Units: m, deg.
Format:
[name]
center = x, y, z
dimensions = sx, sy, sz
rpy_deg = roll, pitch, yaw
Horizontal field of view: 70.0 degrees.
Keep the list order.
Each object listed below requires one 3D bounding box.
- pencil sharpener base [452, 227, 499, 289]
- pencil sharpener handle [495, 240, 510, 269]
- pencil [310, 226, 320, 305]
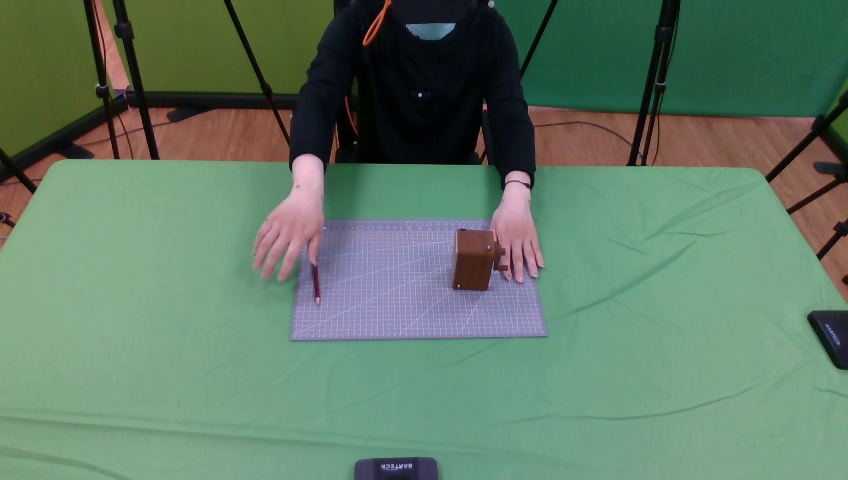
[pencil sharpener base]
center = 0.093, 0.035, 1.102
dimensions = 0.077, 0.107, 0.061
rpy_deg = 3, 46, -1
[pencil sharpener handle]
center = 0.144, 0.029, 1.095
dimensions = 0.030, 0.068, 0.036
rpy_deg = 3, 47, -1
[pencil]
center = -0.204, 0.045, 1.140
dimensions = 0.012, 0.012, 0.192
rpy_deg = -6, 48, -9
